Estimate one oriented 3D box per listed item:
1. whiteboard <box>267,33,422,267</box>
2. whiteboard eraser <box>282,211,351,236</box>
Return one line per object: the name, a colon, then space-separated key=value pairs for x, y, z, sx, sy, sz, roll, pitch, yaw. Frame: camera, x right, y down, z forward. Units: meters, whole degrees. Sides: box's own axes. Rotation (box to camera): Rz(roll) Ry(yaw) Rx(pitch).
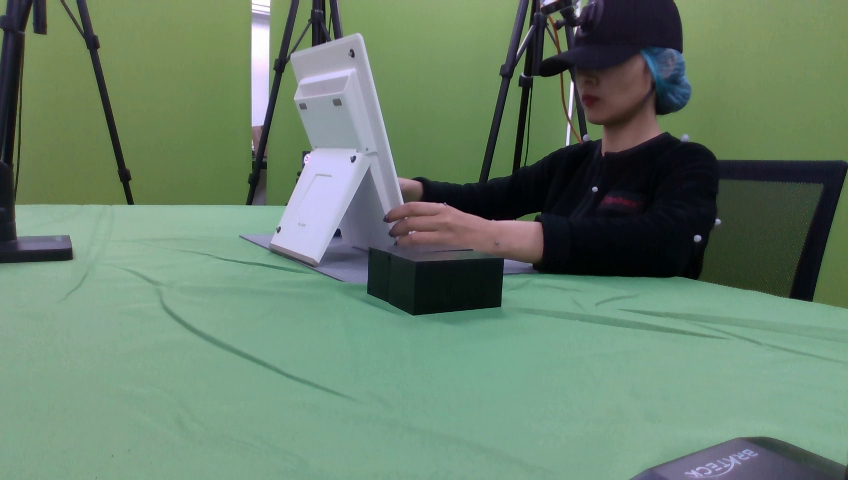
whiteboard: x=-0.153 y=-0.097 z=0.818 sx=0.144 sy=0.305 sz=0.216 roll=-24 pitch=20 yaw=-28
whiteboard eraser: x=-0.189 y=-0.029 z=1.066 sx=0.113 sy=0.042 sz=0.055 roll=-2 pitch=8 yaw=-29
